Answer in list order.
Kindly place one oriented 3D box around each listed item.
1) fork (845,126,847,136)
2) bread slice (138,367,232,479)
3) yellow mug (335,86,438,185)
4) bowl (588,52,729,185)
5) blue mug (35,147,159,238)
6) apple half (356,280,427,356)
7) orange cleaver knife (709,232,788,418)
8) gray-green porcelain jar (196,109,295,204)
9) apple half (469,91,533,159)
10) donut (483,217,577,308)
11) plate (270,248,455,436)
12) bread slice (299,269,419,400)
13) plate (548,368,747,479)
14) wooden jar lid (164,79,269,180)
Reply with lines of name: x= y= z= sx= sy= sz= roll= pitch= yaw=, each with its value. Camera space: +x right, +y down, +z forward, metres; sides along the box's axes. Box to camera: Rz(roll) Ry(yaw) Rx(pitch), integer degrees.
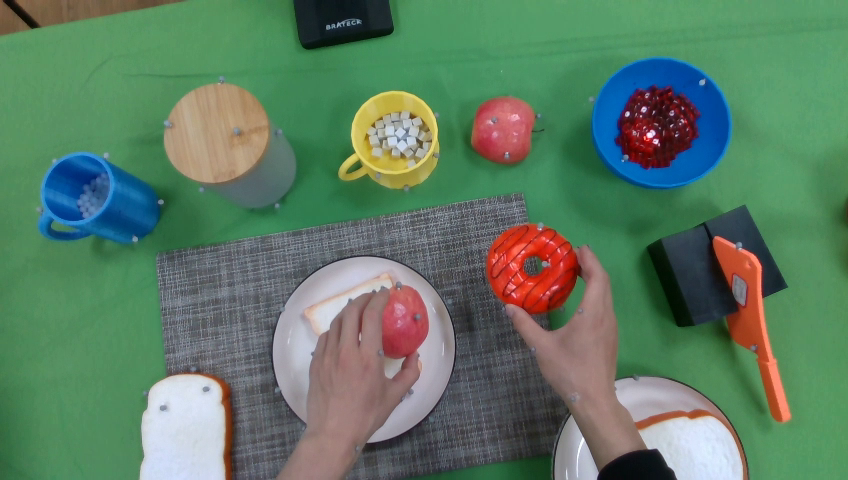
fork: x=0.491 y=-0.069 z=0.643 sx=0.209 sy=0.018 sz=0.028 roll=28 pitch=79 yaw=-35
bread slice: x=-0.273 y=0.212 z=0.692 sx=0.105 sy=0.019 sz=0.131 roll=-2 pitch=82 yaw=1
yellow mug: x=-0.048 y=-0.113 z=0.714 sx=0.131 sy=0.064 sz=0.099 roll=-33 pitch=81 yaw=-3
bowl: x=0.258 y=-0.128 z=0.698 sx=0.151 sy=0.077 sz=0.151 roll=0 pitch=81 yaw=3
blue mug: x=-0.382 y=-0.042 z=0.695 sx=0.116 sy=0.106 sz=0.082 roll=-36 pitch=80 yaw=-3
apple half: x=-0.027 y=0.084 z=0.634 sx=0.081 sy=0.032 sz=0.081 roll=0 pitch=91 yaw=-18
orange cleaver knife: x=0.350 y=0.091 z=0.657 sx=0.012 sy=0.077 sz=0.212 roll=-21 pitch=102 yaw=-8
gray-green porcelain jar: x=-0.210 y=-0.101 z=0.688 sx=0.106 sy=0.127 sz=0.105 roll=0 pitch=80 yaw=2
apple half: x=0.092 y=-0.142 z=0.720 sx=0.074 sy=0.053 sz=0.080 roll=13 pitch=82 yaw=7
donut: x=0.112 y=0.024 z=0.643 sx=0.099 sy=0.048 sz=0.098 roll=0 pitch=80 yaw=0
plate: x=-0.068 y=0.114 z=0.689 sx=0.207 sy=0.039 sz=0.207 roll=0 pitch=81 yaw=2
bread slice: x=-0.064 y=0.111 z=0.688 sx=0.107 sy=0.018 sz=0.134 roll=-26 pitch=84 yaw=-2
plate: x=0.238 y=0.245 z=0.659 sx=0.209 sy=0.038 sz=0.208 roll=0 pitch=81 yaw=3
wooden jar lid: x=-0.213 y=-0.112 z=0.627 sx=0.108 sy=0.021 sz=0.108 roll=-1 pitch=79 yaw=3
